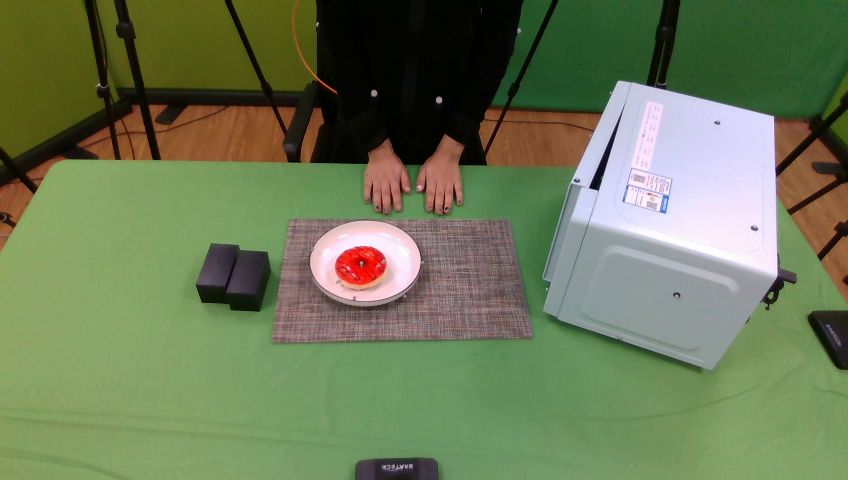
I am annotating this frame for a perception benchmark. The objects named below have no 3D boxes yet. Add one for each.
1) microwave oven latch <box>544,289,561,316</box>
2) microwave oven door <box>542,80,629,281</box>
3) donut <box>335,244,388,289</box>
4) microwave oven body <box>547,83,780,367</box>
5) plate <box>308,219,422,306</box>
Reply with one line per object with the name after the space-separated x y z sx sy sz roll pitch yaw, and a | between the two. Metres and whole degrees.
0.237 0.098 1.087 0.030 0.029 0.079 18 47 14 | microwave oven latch
0.315 -0.119 1.158 0.039 0.245 0.354 20 48 15 | microwave oven door
-0.115 0.047 1.113 0.099 0.048 0.098 1 45 -1 | donut
0.445 -0.041 1.101 0.325 0.261 0.440 17 47 13 | microwave oven body
-0.110 0.044 1.132 0.209 0.038 0.208 2 47 -2 | plate
